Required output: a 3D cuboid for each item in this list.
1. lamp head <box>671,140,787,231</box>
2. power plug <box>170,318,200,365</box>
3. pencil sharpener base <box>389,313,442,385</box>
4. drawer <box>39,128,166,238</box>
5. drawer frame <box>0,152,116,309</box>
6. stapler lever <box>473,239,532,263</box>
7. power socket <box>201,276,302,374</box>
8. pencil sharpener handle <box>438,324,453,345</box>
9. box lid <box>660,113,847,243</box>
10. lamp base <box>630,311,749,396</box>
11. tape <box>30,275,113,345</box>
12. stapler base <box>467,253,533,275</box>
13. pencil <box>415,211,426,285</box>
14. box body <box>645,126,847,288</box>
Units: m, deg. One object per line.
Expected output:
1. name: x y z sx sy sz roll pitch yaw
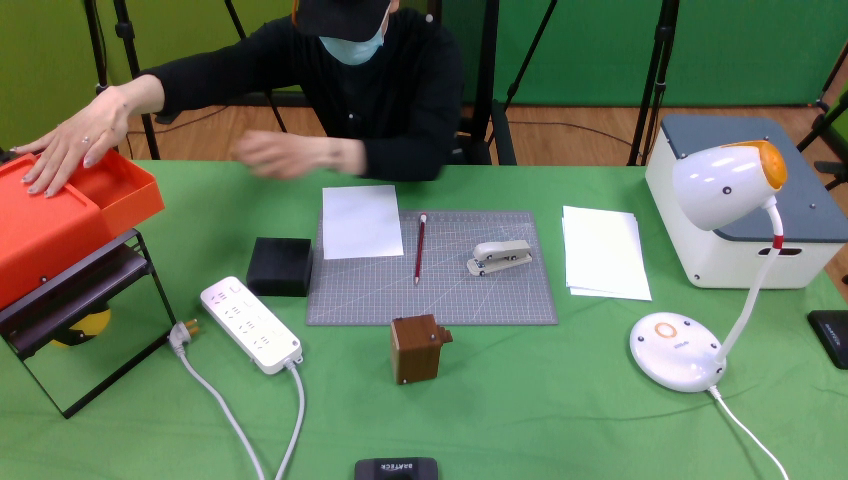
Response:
1. lamp head: 0.415 -0.078 0.811 0.113 0.123 0.112 13 70 -37
2. power plug: -0.392 0.167 1.015 0.052 0.035 0.072 -29 92 -24
3. pencil sharpener base: -0.013 0.175 0.971 0.077 0.107 0.061 -8 47 -11
4. drawer: -0.547 -0.062 0.930 0.193 0.073 0.211 32 53 23
5. drawer frame: -0.604 -0.012 0.876 0.201 0.083 0.213 31 52 23
6. stapler lever: 0.150 0.017 1.155 0.118 0.040 0.026 -13 49 -17
7. power socket: -0.297 0.141 1.034 0.072 0.033 0.225 -34 58 -30
8. pencil sharpener handle: 0.036 0.155 0.976 0.031 0.068 0.036 -8 69 -11
9. box lid: 0.628 -0.133 1.171 0.263 0.015 0.369 1 46 -3
10. lamp base: 0.447 0.143 0.983 0.161 0.181 0.178 -24 55 -24
11. tape: -0.593 0.117 1.021 0.117 0.053 0.116 3 46 -2
12. stapler base: 0.148 0.034 1.172 0.131 0.024 0.041 -12 49 -17
13. pencil: -0.008 0.014 1.190 0.012 0.012 0.193 5 48 1
14. box body: 0.625 -0.080 1.222 0.254 0.161 0.361 0 46 -3
